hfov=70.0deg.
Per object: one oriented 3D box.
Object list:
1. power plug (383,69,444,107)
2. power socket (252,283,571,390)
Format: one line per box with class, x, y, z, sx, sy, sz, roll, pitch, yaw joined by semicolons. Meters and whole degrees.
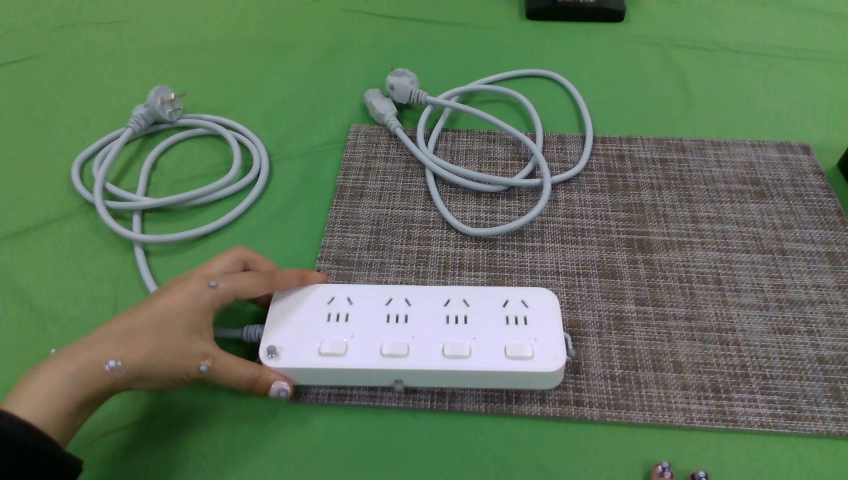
power plug;-0.009;-0.150;0.628;0.072;0.035;0.052;32;31;6
power socket;-0.008;0.068;0.432;0.227;0.033;0.071;1;49;2
